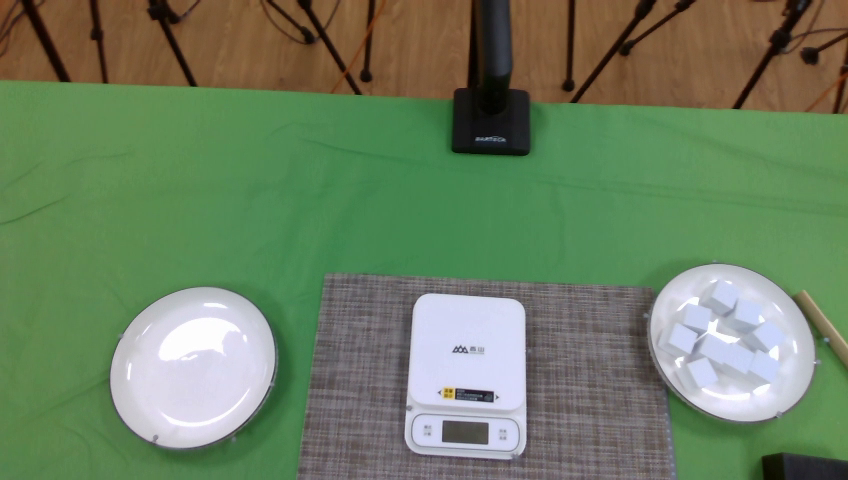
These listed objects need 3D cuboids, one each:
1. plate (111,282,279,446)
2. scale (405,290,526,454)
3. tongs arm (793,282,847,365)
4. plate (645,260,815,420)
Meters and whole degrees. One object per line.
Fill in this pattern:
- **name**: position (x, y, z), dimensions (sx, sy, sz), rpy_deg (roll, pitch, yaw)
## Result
- **plate**: position (-0.288, 0.156, 0.775), dimensions (0.209, 0.038, 0.207), rpy_deg (0, 67, 1)
- **scale**: position (0.055, 0.163, 0.767), dimensions (0.148, 0.032, 0.199), rpy_deg (3, 67, 2)
- **tongs arm**: position (0.590, 0.215, 0.744), dimensions (0.028, 0.028, 0.384), rpy_deg (-25, 69, -12)
- **plate**: position (0.386, 0.128, 0.780), dimensions (0.208, 0.039, 0.206), rpy_deg (0, 67, 1)
